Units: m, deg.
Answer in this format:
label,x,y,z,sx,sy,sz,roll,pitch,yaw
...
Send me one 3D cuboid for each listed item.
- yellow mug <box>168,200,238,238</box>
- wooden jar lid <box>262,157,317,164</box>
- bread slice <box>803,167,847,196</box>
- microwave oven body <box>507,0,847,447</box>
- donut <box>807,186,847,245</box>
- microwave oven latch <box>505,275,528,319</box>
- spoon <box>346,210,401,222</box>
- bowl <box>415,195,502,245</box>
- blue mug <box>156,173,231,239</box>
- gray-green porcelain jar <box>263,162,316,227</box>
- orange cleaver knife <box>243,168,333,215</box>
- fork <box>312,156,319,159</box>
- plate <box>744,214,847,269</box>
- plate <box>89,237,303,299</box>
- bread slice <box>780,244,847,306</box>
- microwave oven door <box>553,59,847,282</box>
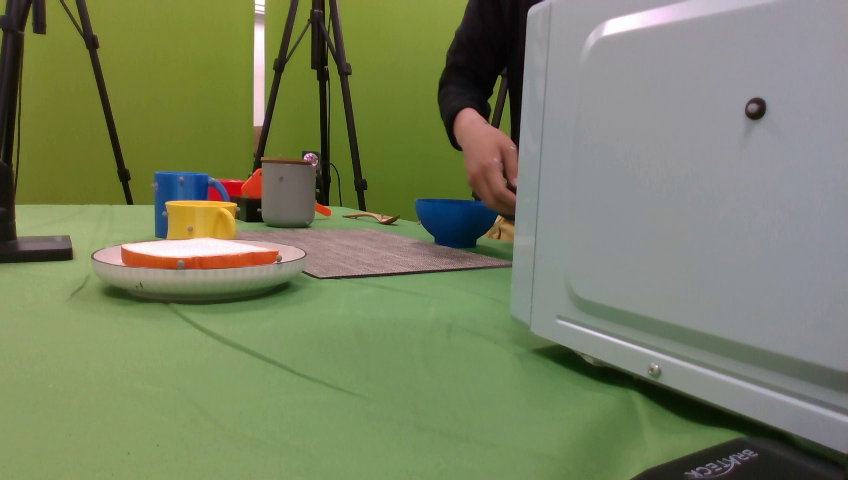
label,x,y,z,sx,sy,sz,roll,pitch,yaw
yellow mug,-0.320,-0.023,0.904,0.130,0.064,0.100,9,10,36
wooden jar lid,-0.269,-0.154,1.208,0.108,0.020,0.108,3,4,0
bread slice,0.363,-0.051,0.454,0.135,0.018,0.106,-10,3,-23
microwave oven body,0.331,-0.042,0.425,0.444,0.260,0.324,-2,8,-31
donut,0.350,-0.023,0.464,0.099,0.048,0.099,-12,5,1
microwave oven latch,0.100,0.042,0.471,0.079,0.029,0.030,-1,7,-28
spoon,-0.121,-0.060,1.400,0.042,0.021,0.192,-27,24,-38
bowl,0.059,-0.035,1.049,0.151,0.077,0.151,2,7,0
blue mug,-0.381,-0.057,1.004,0.117,0.106,0.082,0,8,-12
gray-green porcelain jar,-0.271,-0.092,1.217,0.106,0.126,0.106,2,7,0
orange cleaver knife,-0.300,-0.089,1.351,0.212,0.077,0.012,29,-9,-34
fork,-0.331,-0.144,1.506,0.207,0.018,0.028,-42,-19,22
plate,0.360,0.002,0.462,0.209,0.038,0.209,2,4,0
plate,-0.233,0.029,0.637,0.208,0.039,0.207,2,7,0
bread slice,0.369,0.020,0.473,0.132,0.019,0.104,-20,11,-14
microwave oven door,0.328,-0.092,0.780,0.039,0.243,0.354,-5,10,-42
